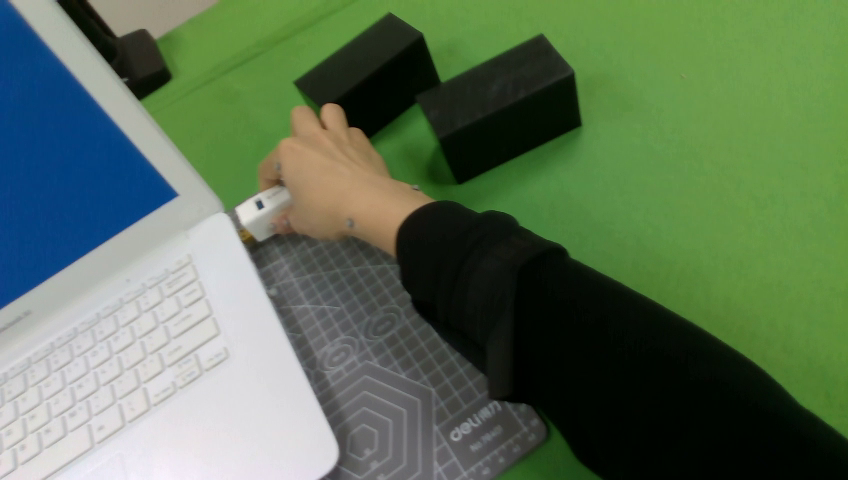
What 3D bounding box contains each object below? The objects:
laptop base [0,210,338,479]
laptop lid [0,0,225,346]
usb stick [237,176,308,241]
[{"bbox_3d":[-0.244,0.146,0.397,0.354,0.023,0.233,-33,55,-5],"label":"laptop base"},{"bbox_3d":[-0.347,-0.010,0.397,0.357,0.244,0.013,-35,37,-4],"label":"laptop lid"},{"bbox_3d":[-0.118,-0.020,0.451,0.059,0.027,0.021,-34,50,1],"label":"usb stick"}]
